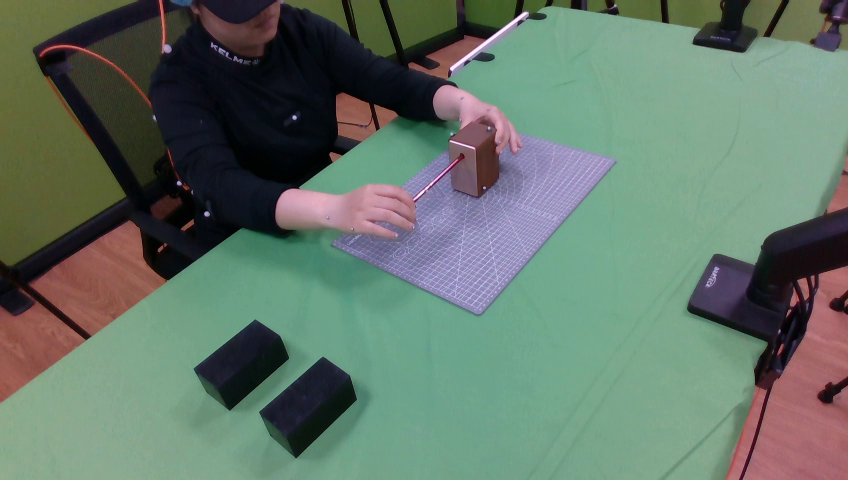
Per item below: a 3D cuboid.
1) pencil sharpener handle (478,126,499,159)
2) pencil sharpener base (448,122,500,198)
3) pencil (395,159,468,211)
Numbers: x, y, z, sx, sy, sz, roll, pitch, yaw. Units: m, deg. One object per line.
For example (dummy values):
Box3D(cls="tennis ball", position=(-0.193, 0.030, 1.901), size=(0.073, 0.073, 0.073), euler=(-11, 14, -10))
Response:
Box3D(cls="pencil sharpener handle", position=(0.119, -0.177, 1.073), size=(0.035, 0.068, 0.031), euler=(20, 47, 32))
Box3D(cls="pencil sharpener base", position=(0.090, -0.140, 1.052), size=(0.061, 0.107, 0.077), euler=(22, 48, 31))
Box3D(cls="pencil", position=(0.022, -0.095, 0.972), size=(0.012, 0.012, 0.195), euler=(26, 47, 34))
